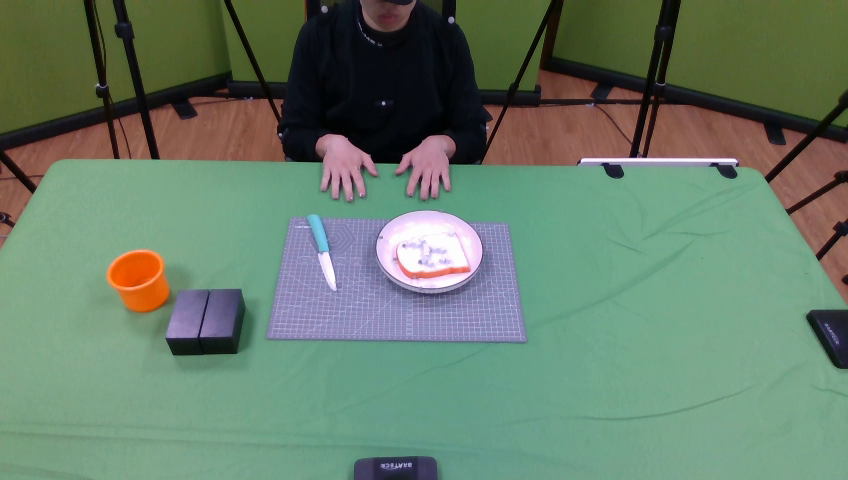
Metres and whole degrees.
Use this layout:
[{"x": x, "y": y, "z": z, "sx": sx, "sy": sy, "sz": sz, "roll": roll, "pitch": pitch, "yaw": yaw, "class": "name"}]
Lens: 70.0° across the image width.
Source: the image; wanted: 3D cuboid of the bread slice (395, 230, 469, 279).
[{"x": 0.011, "y": 0.029, "z": 1.158, "sx": 0.132, "sy": 0.019, "sz": 0.104, "roll": -9, "pitch": 48, "yaw": -13, "class": "bread slice"}]

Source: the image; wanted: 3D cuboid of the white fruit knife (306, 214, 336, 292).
[{"x": -0.195, "y": 0.021, "z": 1.164, "sx": 0.027, "sy": 0.016, "sz": 0.206, "roll": -30, "pitch": 51, "yaw": 8, "class": "white fruit knife"}]

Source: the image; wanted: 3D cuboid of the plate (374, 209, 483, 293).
[{"x": 0.009, "y": 0.024, "z": 1.160, "sx": 0.209, "sy": 0.038, "sz": 0.208, "roll": 2, "pitch": 46, "yaw": -2, "class": "plate"}]
